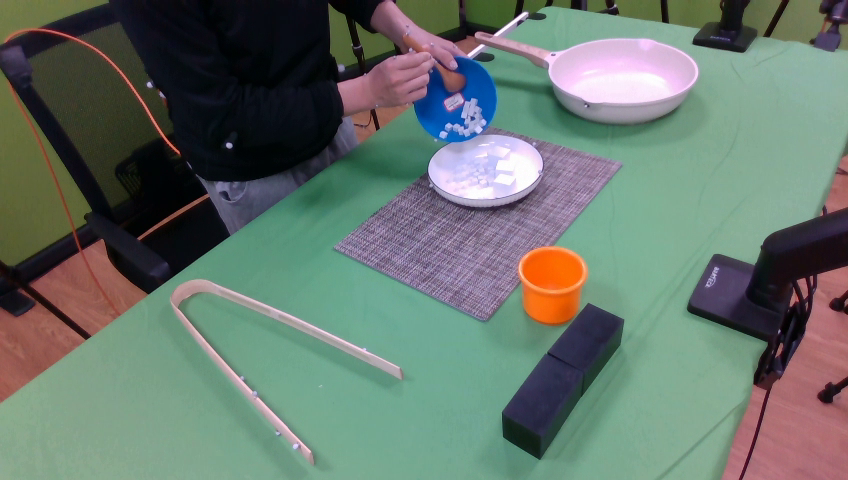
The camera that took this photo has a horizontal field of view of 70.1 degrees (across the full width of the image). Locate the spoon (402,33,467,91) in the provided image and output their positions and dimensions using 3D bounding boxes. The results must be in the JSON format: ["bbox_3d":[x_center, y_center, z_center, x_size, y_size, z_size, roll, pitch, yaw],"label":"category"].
[{"bbox_3d":[0.018,-0.302,1.032,0.041,0.195,0.021,-33,58,23],"label":"spoon"}]

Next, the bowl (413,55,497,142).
[{"bbox_3d":[0.057,-0.256,1.104,0.151,0.151,0.077,-4,11,4],"label":"bowl"}]

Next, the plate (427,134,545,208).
[{"bbox_3d":[0.109,-0.119,1.073,0.207,0.039,0.206,-4,41,4],"label":"plate"}]

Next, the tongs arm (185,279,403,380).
[{"bbox_3d":[-0.194,0.120,0.853,0.385,0.028,0.028,18,49,26],"label":"tongs arm"}]

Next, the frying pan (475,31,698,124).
[{"bbox_3d":[0.320,-0.371,1.290,0.485,0.103,0.307,28,50,23],"label":"frying pan"}]

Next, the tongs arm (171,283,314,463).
[{"bbox_3d":[-0.246,0.161,0.806,0.381,0.026,0.051,29,51,36],"label":"tongs arm"}]
